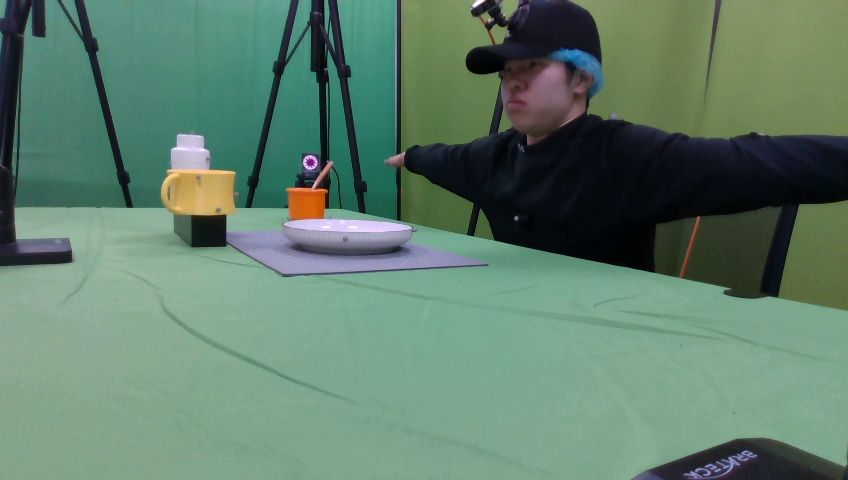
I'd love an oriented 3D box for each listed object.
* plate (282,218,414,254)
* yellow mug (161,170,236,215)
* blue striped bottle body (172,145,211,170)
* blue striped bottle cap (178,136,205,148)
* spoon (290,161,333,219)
[{"bbox_3d":[-0.121,-0.007,0.971,0.208,0.039,0.207,2,7,0],"label":"plate"},{"bbox_3d":[-0.354,-0.074,0.935,0.099,0.064,0.131,5,9,21],"label":"yellow mug"},{"bbox_3d":[-0.407,-0.120,1.059,0.063,0.120,0.063,3,8,0],"label":"blue striped bottle body"},{"bbox_3d":[-0.405,-0.171,1.053,0.044,0.020,0.044,3,10,0],"label":"blue striped bottle cap"},{"bbox_3d":[-0.251,-0.117,1.381,0.041,0.193,0.022,4,-37,26],"label":"spoon"}]
